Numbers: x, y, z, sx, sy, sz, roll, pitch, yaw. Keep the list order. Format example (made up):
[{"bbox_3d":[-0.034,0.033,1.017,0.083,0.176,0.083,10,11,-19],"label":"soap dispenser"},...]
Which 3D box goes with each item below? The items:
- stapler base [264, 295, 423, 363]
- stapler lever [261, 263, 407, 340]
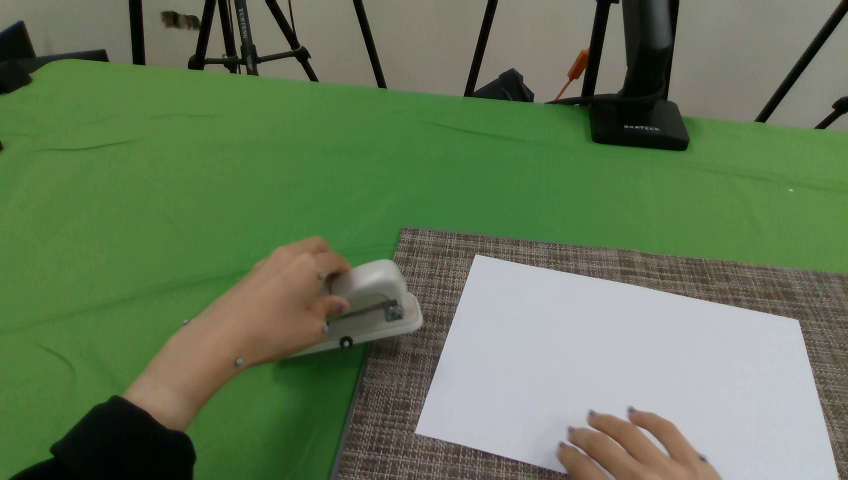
[{"bbox_3d":[-0.067,0.065,0.490,0.131,0.025,0.041,-11,41,-4],"label":"stapler base"},{"bbox_3d":[-0.071,0.048,0.472,0.118,0.040,0.026,-12,41,-3],"label":"stapler lever"}]
